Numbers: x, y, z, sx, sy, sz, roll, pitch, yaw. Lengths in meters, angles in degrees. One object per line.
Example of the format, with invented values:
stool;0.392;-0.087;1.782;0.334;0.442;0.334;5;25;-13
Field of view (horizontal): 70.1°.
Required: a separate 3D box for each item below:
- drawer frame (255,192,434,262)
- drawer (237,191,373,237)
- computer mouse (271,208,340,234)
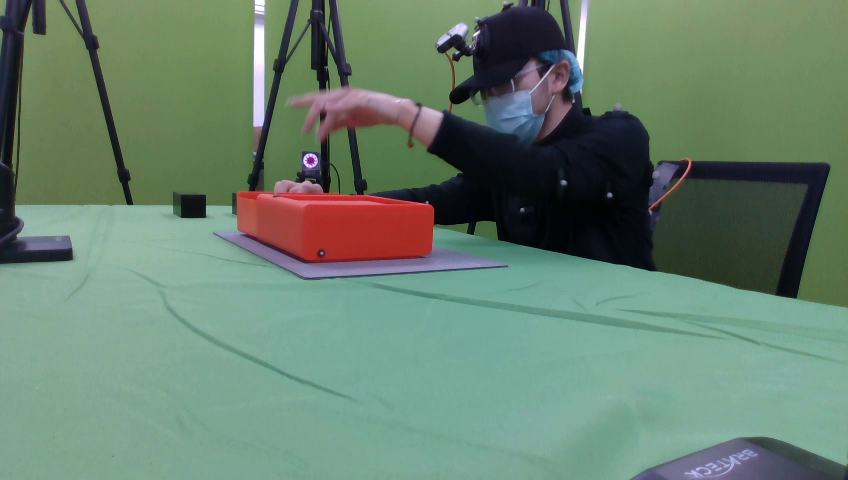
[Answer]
drawer frame;-0.125;-0.026;0.910;0.203;0.082;0.212;-1;9;-32
drawer;-0.186;-0.039;1.006;0.195;0.073;0.210;-1;8;-32
computer mouse;-0.205;-0.033;1.049;0.117;0.041;0.062;-5;11;-6
